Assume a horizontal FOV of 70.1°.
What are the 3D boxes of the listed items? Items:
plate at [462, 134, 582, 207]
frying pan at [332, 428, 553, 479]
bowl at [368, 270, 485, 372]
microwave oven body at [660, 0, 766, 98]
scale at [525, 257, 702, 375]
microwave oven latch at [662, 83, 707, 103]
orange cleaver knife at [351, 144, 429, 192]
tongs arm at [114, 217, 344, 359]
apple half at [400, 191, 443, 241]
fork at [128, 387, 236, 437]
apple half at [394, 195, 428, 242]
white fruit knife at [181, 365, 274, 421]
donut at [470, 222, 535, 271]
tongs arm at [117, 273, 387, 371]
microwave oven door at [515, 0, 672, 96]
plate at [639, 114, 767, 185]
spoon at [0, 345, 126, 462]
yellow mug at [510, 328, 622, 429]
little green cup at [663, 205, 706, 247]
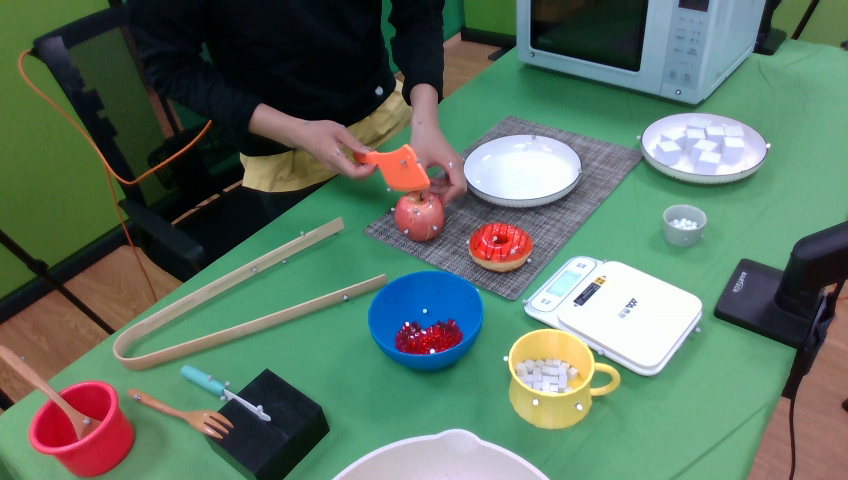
[{"bbox_3d":[0.173,-0.119,1.070,0.209,0.038,0.208,-4,40,4],"label":"plate"},{"bbox_3d":[-0.089,0.306,0.564,0.487,0.103,0.306,10,41,7],"label":"frying pan"},{"bbox_3d":[0.007,0.118,0.791,0.151,0.077,0.150,-4,40,4],"label":"bowl"},{"bbox_3d":[0.472,-0.513,1.317,0.438,0.261,0.327,26,51,34],"label":"microwave oven body"},{"bbox_3d":[0.254,0.091,0.821,0.199,0.032,0.149,27,51,35],"label":"scale"},{"bbox_3d":[0.517,-0.296,1.204,0.078,0.029,0.030,28,52,35],"label":"microwave oven latch"},{"bbox_3d":[-0.056,-0.111,0.932,0.012,0.077,0.209,-30,22,-25],"label":"orange cleaver knife"},{"bbox_3d":[-0.280,0.067,0.927,0.386,0.026,0.050,-29,49,-23],"label":"tongs arm"},{"bbox_3d":[0.001,-0.043,0.980,0.053,0.075,0.080,-26,40,-33],"label":"apple half"},{"bbox_3d":[-0.305,0.207,0.744,0.206,0.019,0.028,3,42,36],"label":"fork"},{"bbox_3d":[-0.027,-0.028,0.962,0.033,0.081,0.080,-27,44,-29],"label":"apple half"},{"bbox_3d":[-0.245,0.187,0.747,0.205,0.027,0.016,9,41,40],"label":"white fruit knife"},{"bbox_3d":[0.119,0.009,0.923,0.099,0.048,0.098,-3,38,3],"label":"donut"},{"bbox_3d":[-0.237,0.115,0.870,0.389,0.028,0.028,-18,49,-12],"label":"tongs arm"},{"bbox_3d":[0.343,-0.455,1.259,0.353,0.245,0.039,26,51,33],"label":"microwave oven door"},{"bbox_3d":[0.489,-0.157,1.074,0.207,0.039,0.206,-4,40,4],"label":"plate"},{"bbox_3d":[-0.434,0.192,0.720,0.194,0.021,0.042,47,53,-7],"label":"spoon"},{"bbox_3d":[0.168,0.164,0.722,0.130,0.064,0.099,0,40,8],"label":"yellow mug"},{"bbox_3d":[0.396,-0.020,0.926,0.061,0.039,0.061,-4,40,4],"label":"little green cup"}]
